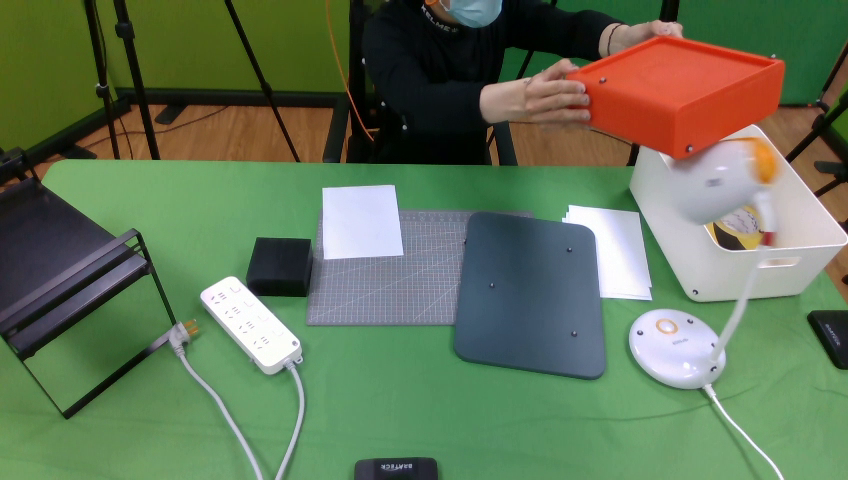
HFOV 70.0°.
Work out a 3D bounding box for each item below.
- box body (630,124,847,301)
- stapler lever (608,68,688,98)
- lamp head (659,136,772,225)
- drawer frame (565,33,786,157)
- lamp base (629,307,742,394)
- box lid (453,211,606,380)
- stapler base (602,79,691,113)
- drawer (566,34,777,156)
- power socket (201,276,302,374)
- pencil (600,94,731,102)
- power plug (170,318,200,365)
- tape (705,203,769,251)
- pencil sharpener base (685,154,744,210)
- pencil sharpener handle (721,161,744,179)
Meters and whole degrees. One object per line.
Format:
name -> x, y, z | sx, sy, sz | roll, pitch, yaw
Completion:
box body -> 0.594, -0.062, 1.202 | 0.254, 0.161, 0.361 | -4, 47, -7
stapler lever -> 0.334, -0.243, 0.906 | 0.118, 0.040, 0.026 | -15, 37, -4
lamp head -> 0.405, -0.085, 0.824 | 0.113, 0.123, 0.112 | 8, 74, -29
drawer frame -> 0.349, -0.215, 0.866 | 0.202, 0.083, 0.212 | -25, 36, -19
lamp base -> 0.443, 0.139, 0.984 | 0.161, 0.181, 0.178 | -20, 53, -18
box lid -> 0.200, 0.085, 1.138 | 0.263, 0.015, 0.369 | 8, 47, 3
stapler base -> 0.337, -0.223, 0.919 | 0.130, 0.024, 0.041 | -14, 37, -5
drawer -> 0.346, -0.215, 0.871 | 0.194, 0.073, 0.210 | -24, 37, -18
power socket -> -0.297, 0.141, 1.034 | 0.072, 0.033, 0.225 | -34, 58, -30
pencil -> 0.357, -0.211, 0.897 | 0.194, 0.012, 0.012 | 1, 46, 0
power plug -> -0.392, 0.167, 1.014 | 0.052, 0.035, 0.072 | -30, 89, -23
tape -> 0.633, -0.025, 1.238 | 0.117, 0.053, 0.116 | 2, 47, -2
pencil sharpener base -> 0.619, -0.124, 1.293 | 0.077, 0.107, 0.061 | -8, 47, -12
pencil sharpener handle -> 0.668, -0.147, 1.299 | 0.031, 0.068, 0.036 | -8, 78, -12
